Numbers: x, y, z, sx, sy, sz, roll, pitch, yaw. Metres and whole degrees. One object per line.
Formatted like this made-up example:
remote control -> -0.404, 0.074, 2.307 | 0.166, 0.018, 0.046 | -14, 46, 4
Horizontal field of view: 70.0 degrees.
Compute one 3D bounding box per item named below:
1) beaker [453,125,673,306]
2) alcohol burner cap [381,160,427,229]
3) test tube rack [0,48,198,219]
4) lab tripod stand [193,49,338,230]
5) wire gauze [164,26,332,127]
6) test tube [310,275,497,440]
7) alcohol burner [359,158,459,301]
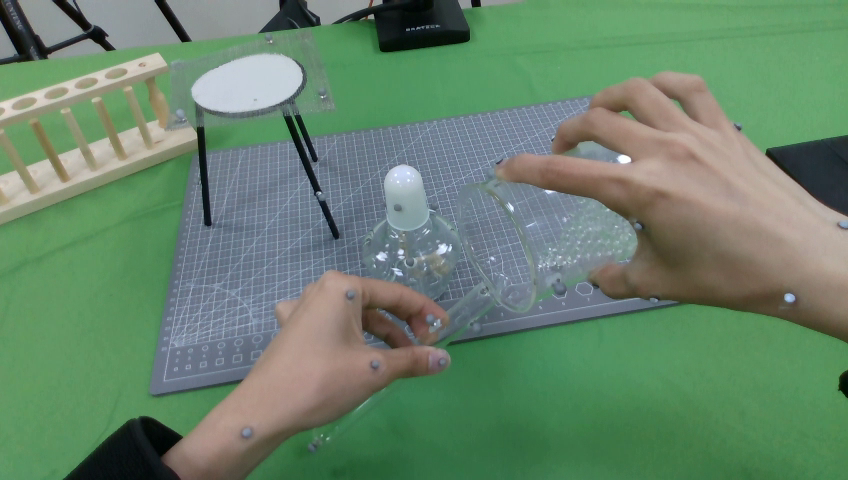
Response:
beaker -> 0.078, -0.015, 0.336 | 0.100, 0.084, 0.073 | -23, 57, -18
alcohol burner cap -> -0.016, -0.035, 0.434 | 0.034, 0.048, 0.033 | -3, 47, 4
test tube rack -> -0.362, -0.103, 0.604 | 0.242, 0.086, 0.066 | -27, 49, -21
lab tripod stand -> -0.138, -0.083, 0.528 | 0.148, 0.133, 0.147 | -3, 47, 3
wire gauze -> -0.143, -0.130, 0.480 | 0.125, 0.011, 0.120 | -14, 46, -7
test tube -> -0.016, 0.074, 0.367 | 0.150, 0.017, 0.017 | -42, 47, 13
alcohol burner -> -0.012, -0.011, 0.460 | 0.078, 0.120, 0.077 | -2, 43, 2
